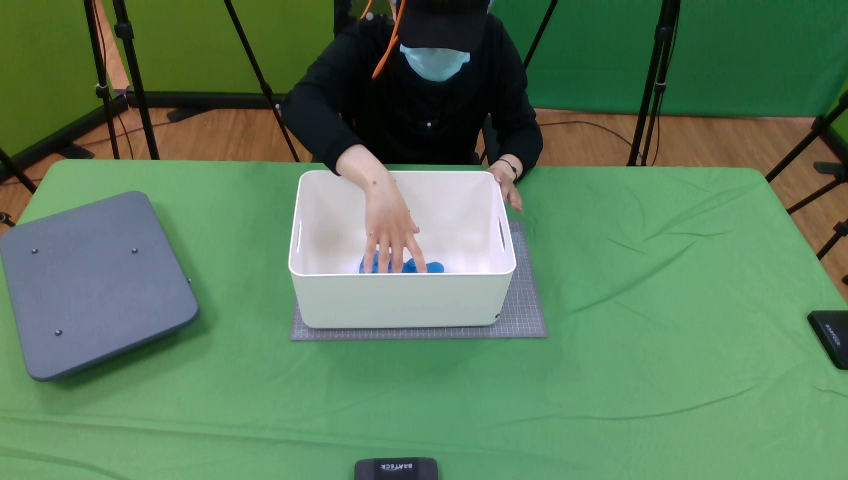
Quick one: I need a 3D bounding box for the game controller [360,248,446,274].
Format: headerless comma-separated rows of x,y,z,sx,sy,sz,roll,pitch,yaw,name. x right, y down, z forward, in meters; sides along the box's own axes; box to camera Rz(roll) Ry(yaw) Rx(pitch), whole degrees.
-0.043,0.056,1.107,0.155,0.052,0.096,11,53,8,game controller

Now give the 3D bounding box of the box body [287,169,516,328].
-0.040,0.015,1.074,0.364,0.161,0.252,-1,47,-4,box body

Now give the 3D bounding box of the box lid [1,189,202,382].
-0.565,0.058,1.050,0.263,0.015,0.369,-23,52,-23,box lid
